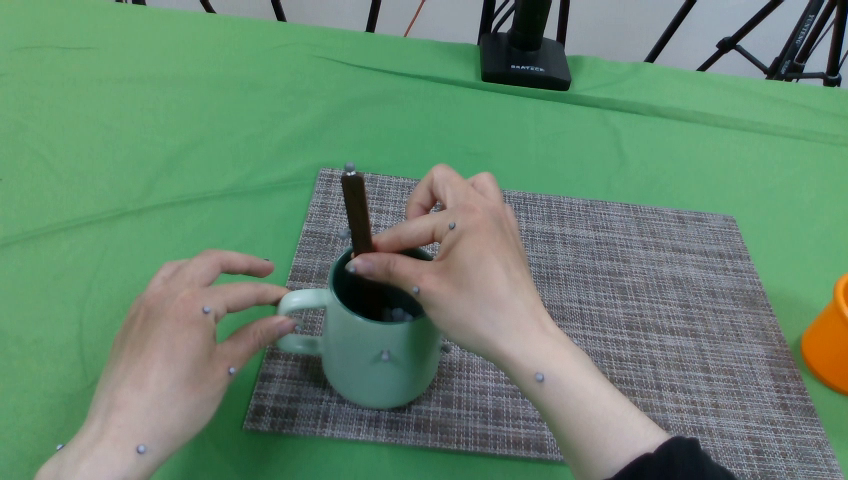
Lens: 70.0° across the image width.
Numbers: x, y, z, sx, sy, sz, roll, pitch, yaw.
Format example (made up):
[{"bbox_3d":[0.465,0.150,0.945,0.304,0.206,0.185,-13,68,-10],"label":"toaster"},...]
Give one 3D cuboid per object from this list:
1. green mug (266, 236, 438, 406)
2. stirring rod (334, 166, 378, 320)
[{"bbox_3d":[-0.051,0.061,0.442,0.125,0.106,0.091,-1,47,-10],"label":"green mug"},{"bbox_3d":[-0.043,0.019,0.411,0.014,0.178,0.005,-1,48,0],"label":"stirring rod"}]
